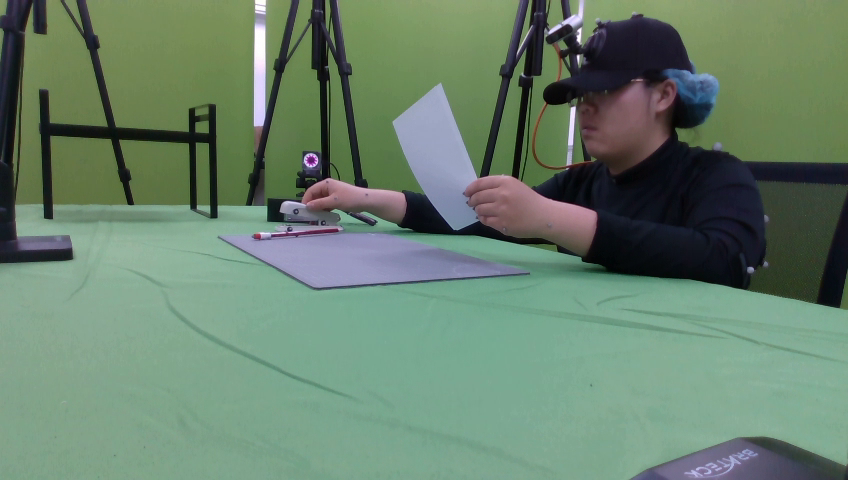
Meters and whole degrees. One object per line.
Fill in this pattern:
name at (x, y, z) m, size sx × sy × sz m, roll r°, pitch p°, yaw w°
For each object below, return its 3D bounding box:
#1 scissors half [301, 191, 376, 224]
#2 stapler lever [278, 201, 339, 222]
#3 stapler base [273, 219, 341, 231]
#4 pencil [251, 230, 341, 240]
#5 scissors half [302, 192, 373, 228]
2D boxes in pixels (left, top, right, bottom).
scissors half at (-0.189, -0.073, 1.334) m, size 0.175 × 0.013 × 0.040 m, roll 22°, pitch 12°, yaw -10°
stapler lever at (-0.223, -0.054, 1.170) m, size 0.119 × 0.040 × 0.026 m, roll -1°, pitch 12°, yaw -33°
stapler base at (-0.225, -0.031, 1.172) m, size 0.131 × 0.024 × 0.041 m, roll 0°, pitch 11°, yaw -34°
pencil at (-0.215, -0.011, 1.049) m, size 0.012 × 0.012 × 0.195 m, roll 9°, pitch 9°, yaw 39°
scissors half at (-0.191, -0.068, 1.314) m, size 0.175 × 0.013 × 0.040 m, roll 26°, pitch 17°, yaw 7°
